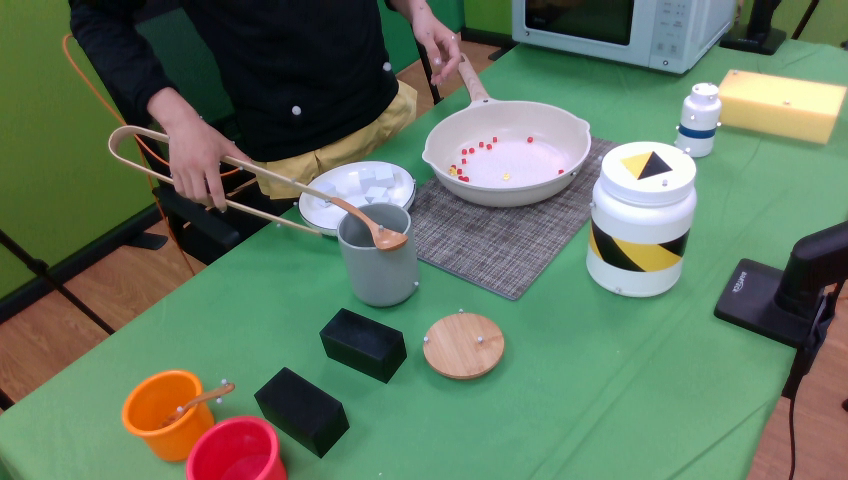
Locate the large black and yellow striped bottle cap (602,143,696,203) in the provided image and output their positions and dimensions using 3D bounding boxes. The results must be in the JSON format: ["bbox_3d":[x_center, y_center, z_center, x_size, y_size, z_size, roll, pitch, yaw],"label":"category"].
[{"bbox_3d":[0.289,-0.088,0.779,0.115,0.019,0.114,-5,39,4],"label":"large black and yellow striped bottle cap"}]

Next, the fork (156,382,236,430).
[{"bbox_3d":[-0.262,0.189,0.690,0.018,0.206,0.028,49,43,-7],"label":"fork"}]

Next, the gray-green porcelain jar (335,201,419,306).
[{"bbox_3d":[-0.064,0.024,0.872,0.106,0.127,0.105,-4,41,4],"label":"gray-green porcelain jar"}]

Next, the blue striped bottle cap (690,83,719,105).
[{"bbox_3d":[0.482,-0.251,1.038,0.044,0.021,0.044,-5,40,5],"label":"blue striped bottle cap"}]

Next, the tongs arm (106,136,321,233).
[{"bbox_3d":[-0.341,-0.085,0.966,0.387,0.028,0.028,21,77,7],"label":"tongs arm"}]

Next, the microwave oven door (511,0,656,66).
[{"bbox_3d":[0.351,-0.539,1.349,0.353,0.245,0.039,24,50,31],"label":"microwave oven door"}]

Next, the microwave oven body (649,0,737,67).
[{"bbox_3d":[0.475,-0.602,1.411,0.438,0.261,0.327,23,50,32],"label":"microwave oven body"}]

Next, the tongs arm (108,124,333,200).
[{"bbox_3d":[-0.328,-0.117,0.977,0.384,0.026,0.050,21,73,7],"label":"tongs arm"}]

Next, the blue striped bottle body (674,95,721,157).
[{"bbox_3d":[0.486,-0.213,1.072,0.063,0.121,0.063,-4,41,4],"label":"blue striped bottle body"}]

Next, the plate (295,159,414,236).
[{"bbox_3d":[-0.118,-0.070,1.055,0.207,0.039,0.206,-5,40,5],"label":"plate"}]

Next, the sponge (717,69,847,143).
[{"bbox_3d":[0.663,-0.256,1.142,0.205,0.061,0.118,19,47,28],"label":"sponge"}]

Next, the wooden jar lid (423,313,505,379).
[{"bbox_3d":[0.053,0.142,0.800,0.108,0.021,0.108,-5,39,4],"label":"wooden jar lid"}]

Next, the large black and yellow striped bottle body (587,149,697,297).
[{"bbox_3d":[0.298,-0.026,0.835,0.131,0.185,0.130,-4,41,4],"label":"large black and yellow striped bottle body"}]

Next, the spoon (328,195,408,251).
[{"bbox_3d":[-0.083,-0.029,0.829,0.042,0.022,0.192,-32,43,-21],"label":"spoon"}]

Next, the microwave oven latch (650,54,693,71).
[{"bbox_3d":[0.531,-0.387,1.301,0.078,0.029,0.030,27,52,34],"label":"microwave oven latch"}]

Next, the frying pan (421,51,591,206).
[{"bbox_3d":[0.127,-0.233,1.154,0.307,0.103,0.484,-11,49,-5],"label":"frying pan"}]
